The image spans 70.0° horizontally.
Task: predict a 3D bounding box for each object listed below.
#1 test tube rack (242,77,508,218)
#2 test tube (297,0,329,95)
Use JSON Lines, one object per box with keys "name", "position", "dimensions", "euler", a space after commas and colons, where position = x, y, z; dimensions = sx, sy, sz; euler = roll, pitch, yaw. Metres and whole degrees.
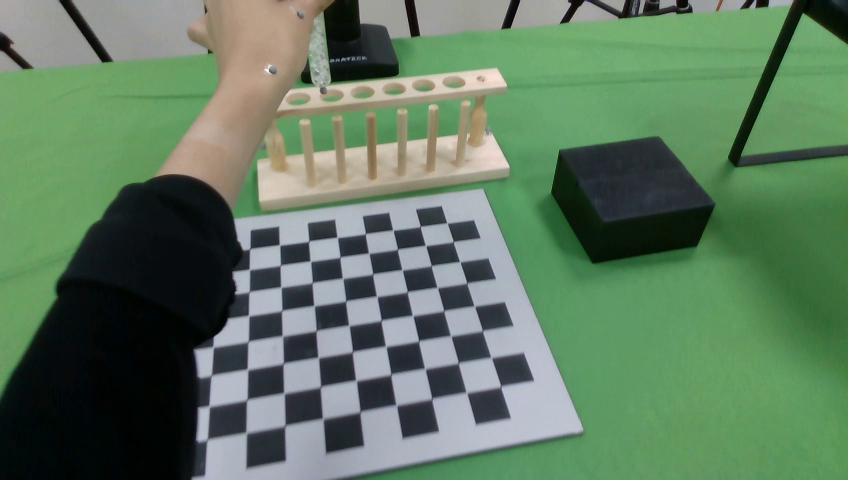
{"name": "test tube rack", "position": [-0.041, -0.090, 0.579], "dimensions": [0.243, 0.086, 0.066], "euler": [-9, 44, -10]}
{"name": "test tube", "position": [-0.083, -0.165, 0.437], "dimensions": [0.017, 0.151, 0.017], "euler": [1, 55, -1]}
